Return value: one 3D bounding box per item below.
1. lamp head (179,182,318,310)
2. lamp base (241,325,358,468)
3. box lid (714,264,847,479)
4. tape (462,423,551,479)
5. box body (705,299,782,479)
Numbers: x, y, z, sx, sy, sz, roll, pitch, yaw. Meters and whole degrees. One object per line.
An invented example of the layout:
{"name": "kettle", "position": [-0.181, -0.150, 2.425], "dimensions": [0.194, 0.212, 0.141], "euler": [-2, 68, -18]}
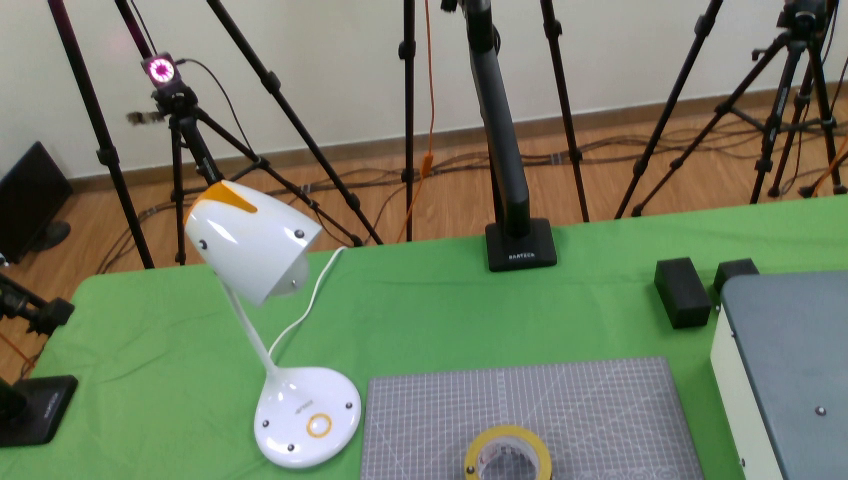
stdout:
{"name": "lamp head", "position": [-0.192, -0.001, 0.640], "dimensions": [0.123, 0.113, 0.112], "euler": [34, 54, -4]}
{"name": "lamp base", "position": [-0.198, 0.206, 0.857], "dimensions": [0.177, 0.182, 0.160], "euler": [24, 55, 34]}
{"name": "box lid", "position": [0.497, 0.166, 0.660], "dimensions": [0.263, 0.015, 0.368], "euler": [-4, 45, 8]}
{"name": "tape", "position": [0.106, 0.301, 0.788], "dimensions": [0.117, 0.053, 0.115], "euler": [-5, 45, 6]}
{"name": "box body", "position": [0.507, 0.219, 0.710], "dimensions": [0.254, 0.162, 0.360], "euler": [-4, 45, 8]}
